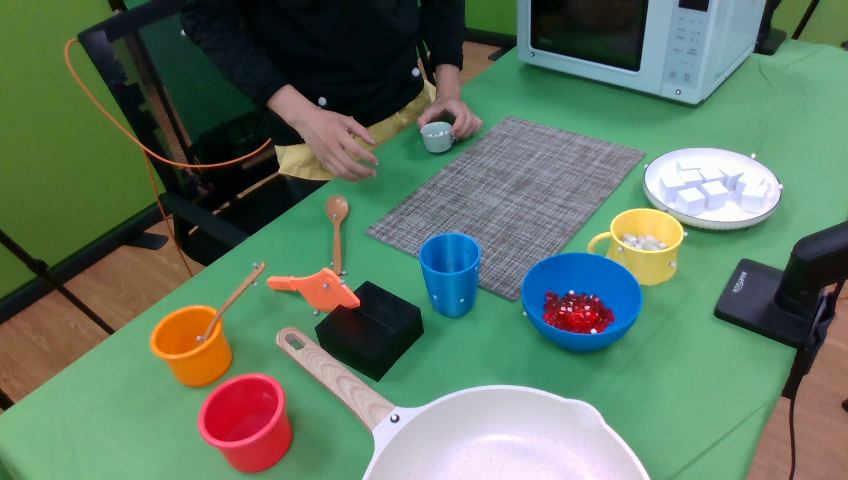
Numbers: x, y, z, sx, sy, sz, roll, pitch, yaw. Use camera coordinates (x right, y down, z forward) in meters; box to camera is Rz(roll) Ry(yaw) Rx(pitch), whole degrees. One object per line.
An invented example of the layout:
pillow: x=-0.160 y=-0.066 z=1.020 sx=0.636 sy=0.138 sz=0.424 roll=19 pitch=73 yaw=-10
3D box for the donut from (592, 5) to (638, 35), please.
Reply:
donut: x=0.428 y=-0.492 z=1.352 sx=0.099 sy=0.048 sz=0.098 roll=-6 pitch=42 yaw=6

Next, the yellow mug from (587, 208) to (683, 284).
yellow mug: x=0.305 y=0.009 z=0.884 sx=0.131 sy=0.064 sz=0.099 roll=-4 pitch=41 yaw=5

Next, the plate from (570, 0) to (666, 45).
plate: x=0.436 y=-0.489 z=1.368 sx=0.209 sy=0.038 sz=0.208 roll=-5 pitch=40 yaw=5

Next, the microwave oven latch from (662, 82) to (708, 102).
microwave oven latch: x=0.517 y=-0.298 z=1.202 sx=0.078 sy=0.029 sz=0.030 roll=28 pitch=52 yaw=35

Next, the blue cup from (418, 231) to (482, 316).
blue cup: x=0.040 y=0.053 z=0.843 sx=0.092 sy=0.100 sz=0.092 roll=-4 pitch=43 yaw=4

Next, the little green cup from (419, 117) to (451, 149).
little green cup: x=0.023 y=-0.207 z=1.177 sx=0.061 sy=0.039 sz=0.061 roll=-9 pitch=43 yaw=9

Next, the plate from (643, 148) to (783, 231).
plate: x=0.464 y=-0.080 z=0.986 sx=0.207 sy=0.039 sz=0.206 roll=-4 pitch=41 yaw=4

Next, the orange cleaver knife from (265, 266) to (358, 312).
orange cleaver knife: x=-0.164 y=0.073 z=0.864 sx=0.210 sy=0.077 sz=0.012 roll=-6 pitch=31 yaw=50

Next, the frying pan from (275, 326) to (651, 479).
frying pan: x=0.004 y=0.229 z=0.641 sx=0.484 sy=0.103 sz=0.308 roll=34 pitch=54 yaw=28

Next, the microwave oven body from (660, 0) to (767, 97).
microwave oven body: x=0.473 y=-0.516 z=1.313 sx=0.438 sy=0.261 sz=0.327 roll=26 pitch=51 yaw=34

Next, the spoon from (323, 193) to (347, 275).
spoon: x=-0.148 y=-0.014 z=1.008 sx=0.042 sy=0.022 sz=0.192 roll=0 pitch=40 yaw=-8

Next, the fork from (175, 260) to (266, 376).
fork: x=-0.268 y=0.103 z=0.792 sx=0.207 sy=0.019 sz=0.028 roll=-51 pitch=41 yaw=16

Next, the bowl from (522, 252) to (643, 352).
bowl: x=0.204 y=0.093 z=0.792 sx=0.151 sy=0.077 sz=0.150 roll=-4 pitch=40 yaw=4

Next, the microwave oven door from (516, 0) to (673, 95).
microwave oven door: x=0.344 y=-0.458 z=1.256 sx=0.353 sy=0.245 sz=0.039 roll=26 pitch=51 yaw=33
